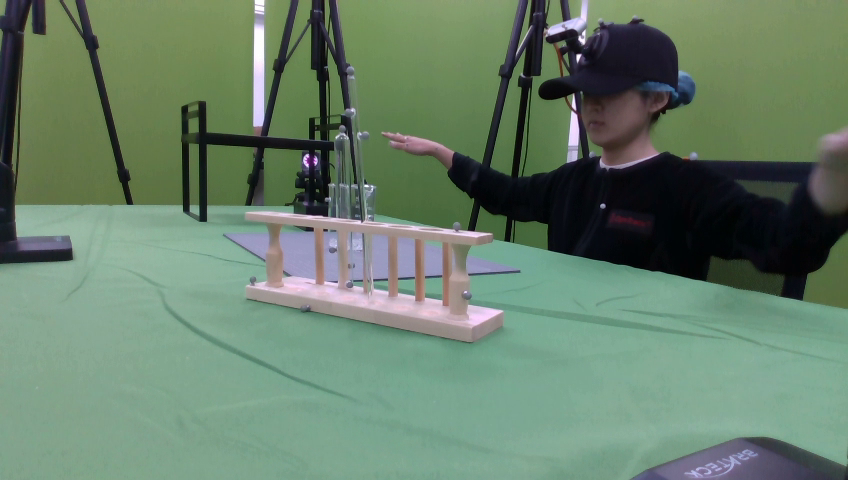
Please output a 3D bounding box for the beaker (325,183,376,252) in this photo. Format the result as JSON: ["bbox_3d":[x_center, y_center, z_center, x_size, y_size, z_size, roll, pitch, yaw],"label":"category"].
[{"bbox_3d":[-0.110,-0.034,0.920,0.083,0.100,0.074,11,11,43],"label":"beaker"}]

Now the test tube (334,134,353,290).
[{"bbox_3d":[-0.077,-0.026,0.579,0.017,0.150,0.017,0,7,0],"label":"test tube"}]

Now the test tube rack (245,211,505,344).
[{"bbox_3d":[-0.049,0.025,0.547,0.241,0.085,0.067,7,8,29],"label":"test tube rack"}]

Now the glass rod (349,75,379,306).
[{"bbox_3d":[-0.050,-0.037,0.511,0.008,0.199,0.008,-4,10,1],"label":"glass rod"}]
